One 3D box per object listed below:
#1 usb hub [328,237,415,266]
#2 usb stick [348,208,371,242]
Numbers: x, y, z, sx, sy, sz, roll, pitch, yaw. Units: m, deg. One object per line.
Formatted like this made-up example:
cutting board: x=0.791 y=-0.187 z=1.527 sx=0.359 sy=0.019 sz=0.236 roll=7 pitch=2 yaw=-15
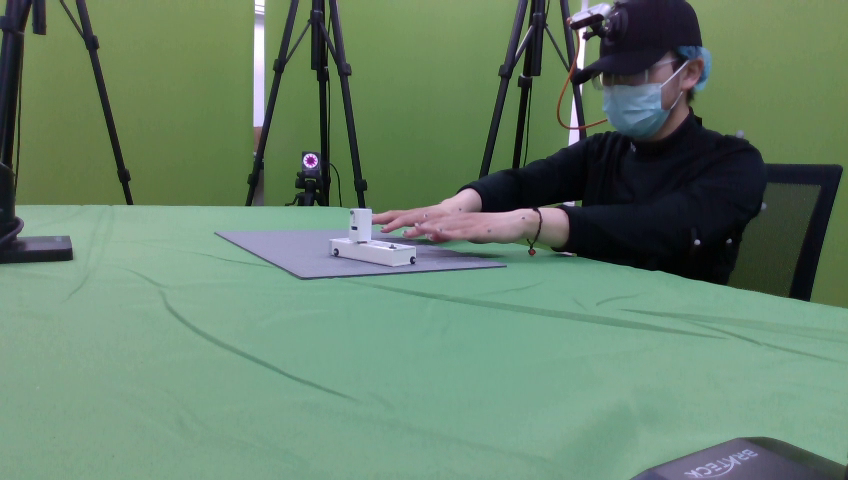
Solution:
usb hub: x=-0.074 y=0.014 z=0.836 sx=0.124 sy=0.025 sz=0.050 roll=7 pitch=9 yaw=38
usb stick: x=-0.088 y=-0.014 z=0.826 sx=0.021 sy=0.059 sz=0.027 roll=7 pitch=11 yaw=37
